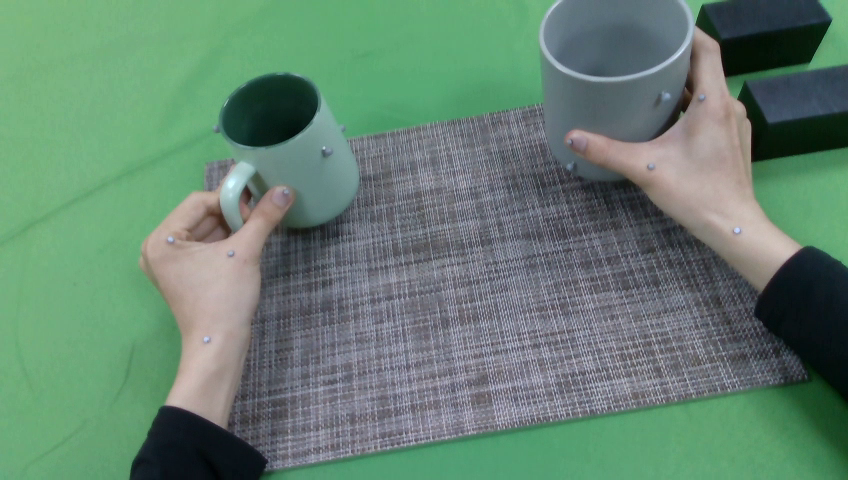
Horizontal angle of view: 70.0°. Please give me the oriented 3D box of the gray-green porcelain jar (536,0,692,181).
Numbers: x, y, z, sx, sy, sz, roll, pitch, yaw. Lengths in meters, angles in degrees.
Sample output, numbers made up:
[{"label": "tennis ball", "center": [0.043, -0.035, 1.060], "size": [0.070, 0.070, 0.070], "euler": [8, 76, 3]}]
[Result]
[{"label": "gray-green porcelain jar", "center": [0.144, -0.117, 0.473], "size": [0.105, 0.128, 0.105], "euler": [-6, 58, 11]}]

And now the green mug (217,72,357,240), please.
[{"label": "green mug", "center": [-0.116, -0.056, 0.485], "size": [0.092, 0.106, 0.125], "euler": [21, 64, 19]}]
